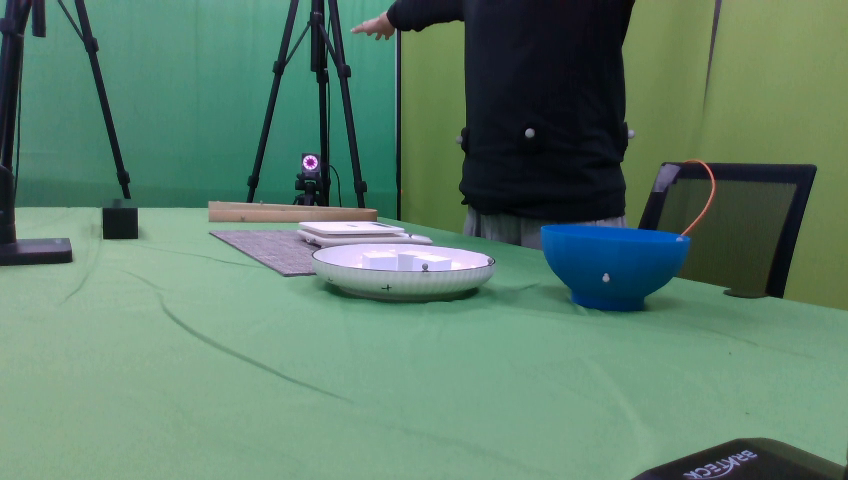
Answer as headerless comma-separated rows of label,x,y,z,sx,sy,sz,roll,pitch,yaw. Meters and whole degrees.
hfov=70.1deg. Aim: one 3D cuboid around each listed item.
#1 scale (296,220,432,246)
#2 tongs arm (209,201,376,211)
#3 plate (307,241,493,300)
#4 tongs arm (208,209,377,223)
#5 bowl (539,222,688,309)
scale,-0.101,-0.012,1.017,0.202,0.031,0.148,-1,8,-30
tongs arm,-0.306,-0.070,1.430,0.386,0.026,0.050,1,9,-15
plate,-0.027,0.034,0.684,0.208,0.039,0.207,2,7,0
tongs arm,-0.280,-0.054,1.355,0.389,0.028,0.028,-2,7,-28
bowl,0.196,0.027,0.641,0.151,0.077,0.151,3,7,0
